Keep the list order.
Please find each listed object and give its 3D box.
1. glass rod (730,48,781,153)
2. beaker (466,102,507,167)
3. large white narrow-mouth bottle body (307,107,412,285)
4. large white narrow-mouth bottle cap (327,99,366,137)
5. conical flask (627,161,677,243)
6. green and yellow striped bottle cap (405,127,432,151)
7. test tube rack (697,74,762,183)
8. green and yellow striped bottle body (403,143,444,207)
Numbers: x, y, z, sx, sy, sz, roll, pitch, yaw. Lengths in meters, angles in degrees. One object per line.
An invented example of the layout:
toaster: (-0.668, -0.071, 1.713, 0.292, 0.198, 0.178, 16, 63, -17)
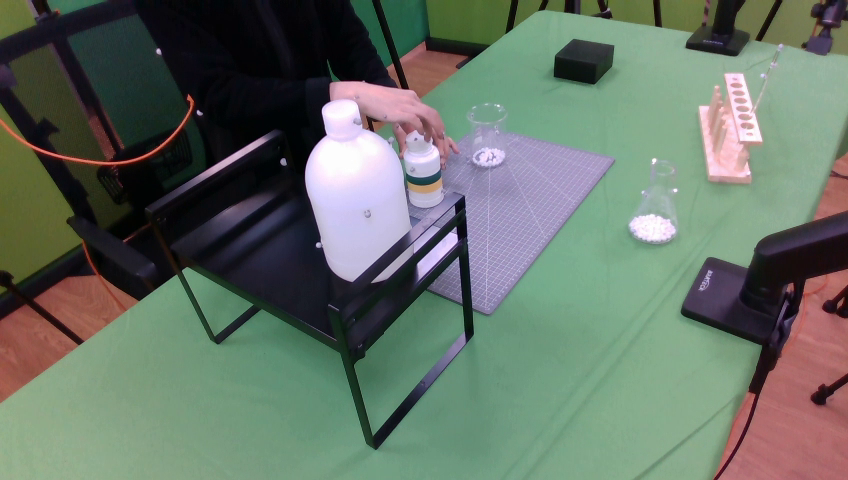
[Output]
glass rod: (0.554, -0.228, 1.015, 0.008, 0.200, 0.008, 1, 44, -1)
beaker: (0.121, -0.195, 1.124, 0.084, 0.101, 0.073, -34, 48, -28)
large white narrow-mouth bottle body: (-0.070, -0.051, 0.638, 0.102, 0.195, 0.101, -3, 40, 3)
large white narrow-mouth bottle cap: (-0.075, -0.118, 0.582, 0.038, 0.024, 0.037, -3, 40, 3)
conical flask: (0.355, -0.061, 0.921, 0.075, 0.122, 0.075, -4, 41, 4)
green and yellow striped bottle cap: (-0.010, -0.168, 1.000, 0.045, 0.020, 0.045, -9, 40, 8)
test tube rack: (0.547, -0.208, 1.095, 0.066, 0.085, 0.242, 5, 42, 15)
green and yellow striped bottle body: (-0.001, -0.121, 1.038, 0.063, 0.120, 0.063, -4, 40, 4)
